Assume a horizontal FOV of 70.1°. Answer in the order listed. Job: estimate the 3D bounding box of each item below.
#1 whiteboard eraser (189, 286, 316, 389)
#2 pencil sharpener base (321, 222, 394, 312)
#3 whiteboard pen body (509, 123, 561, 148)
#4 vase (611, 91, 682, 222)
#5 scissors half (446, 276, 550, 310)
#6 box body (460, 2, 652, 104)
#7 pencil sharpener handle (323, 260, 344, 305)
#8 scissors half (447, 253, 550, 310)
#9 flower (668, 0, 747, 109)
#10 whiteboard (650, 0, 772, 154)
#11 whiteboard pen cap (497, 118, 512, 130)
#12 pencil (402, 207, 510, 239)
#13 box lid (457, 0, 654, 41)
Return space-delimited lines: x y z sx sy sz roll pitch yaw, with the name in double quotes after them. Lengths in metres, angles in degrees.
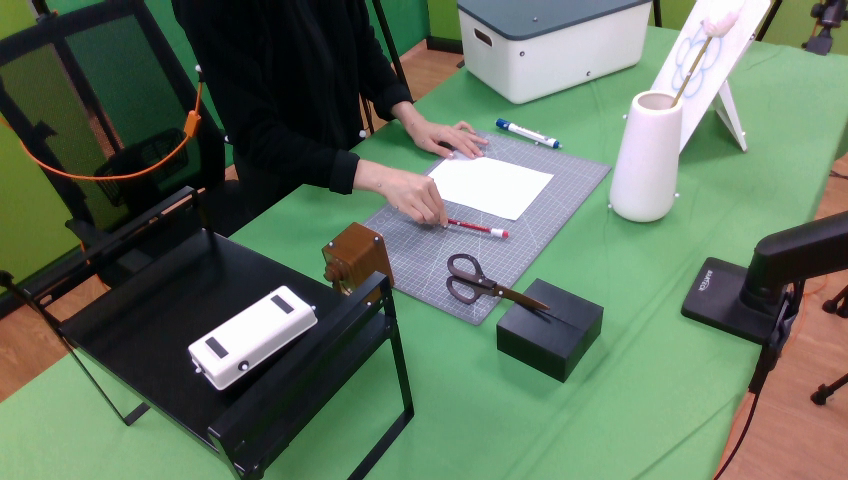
-0.166 0.096 0.593 0.113 0.042 0.055 -36 47 -29 "whiteboard eraser"
-0.096 0.041 0.873 0.061 0.107 0.077 25 54 32 "pencil sharpener base"
0.208 -0.211 1.196 0.139 0.017 0.017 30 52 33 "whiteboard pen body"
0.348 -0.125 0.935 0.098 0.201 0.097 -3 40 3 "vase"
0.098 0.077 0.827 0.174 0.040 0.013 6 14 44 "scissors half"
0.291 -0.465 1.371 0.365 0.161 0.252 -22 42 -16 "box body"
-0.131 0.062 0.839 0.035 0.068 0.031 29 55 28 "pencil sharpener handle"
0.098 0.058 0.821 0.173 0.040 0.013 27 33 37 "scissors half"
0.354 -0.187 0.879 0.038 0.362 0.044 30 48 14 "flower"
0.543 -0.298 1.076 0.144 0.305 0.216 12 40 -7 "whiteboard"
0.165 -0.235 1.227 0.033 0.018 0.018 31 53 31 "whiteboard pen cap"
0.050 -0.030 0.998 0.193 0.012 0.012 16 45 20 "pencil"
0.285 -0.522 1.323 0.373 0.015 0.261 -22 43 -16 "box lid"
